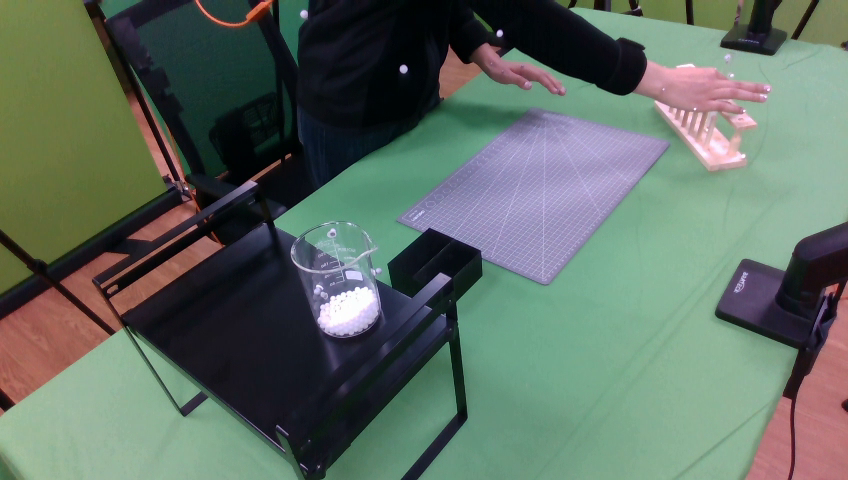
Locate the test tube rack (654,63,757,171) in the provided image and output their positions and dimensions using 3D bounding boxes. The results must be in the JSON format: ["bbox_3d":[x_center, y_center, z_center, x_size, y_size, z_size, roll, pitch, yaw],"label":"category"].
[{"bbox_3d":[0.511,-0.233,1.120,0.067,0.085,0.241,-9,41,-1],"label":"test tube rack"}]

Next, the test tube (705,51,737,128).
[{"bbox_3d":[0.527,-0.264,1.076,0.017,0.151,0.017,-2,44,3],"label":"test tube"}]

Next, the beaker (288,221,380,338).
[{"bbox_3d":[-0.082,0.042,0.602,0.084,0.101,0.073,-5,41,3],"label":"beaker"}]
